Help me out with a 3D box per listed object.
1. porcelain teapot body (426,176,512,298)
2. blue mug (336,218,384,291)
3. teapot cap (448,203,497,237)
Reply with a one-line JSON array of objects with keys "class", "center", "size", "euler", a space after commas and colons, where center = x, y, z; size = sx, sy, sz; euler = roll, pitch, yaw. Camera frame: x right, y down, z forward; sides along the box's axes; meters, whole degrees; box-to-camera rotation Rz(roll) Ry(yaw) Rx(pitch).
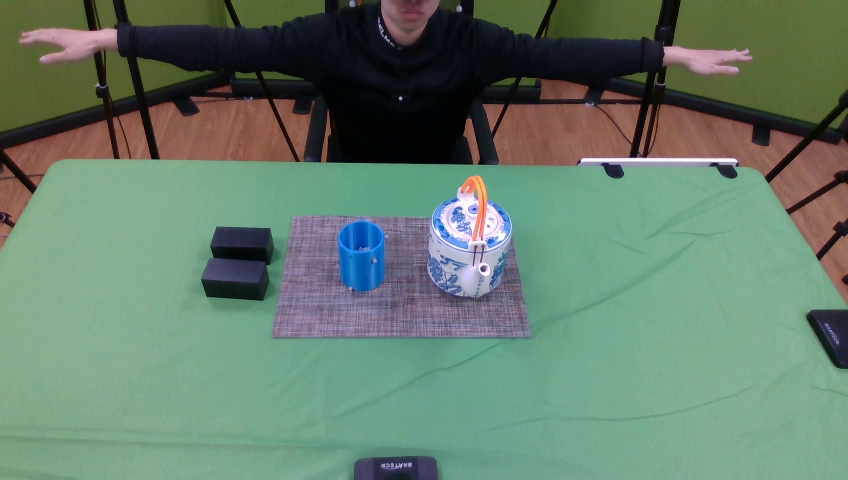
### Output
[{"class": "porcelain teapot body", "center": [0.085, 0.009, 1.051], "size": [0.145, 0.226, 0.204], "euler": [-5, 47, -9]}, {"class": "blue mug", "center": [-0.115, 0.018, 1.110], "size": [0.082, 0.106, 0.116], "euler": [1, 46, -3]}, {"class": "teapot cap", "center": [0.084, -0.038, 1.041], "size": [0.085, 0.044, 0.084], "euler": [0, 48, 0]}]
